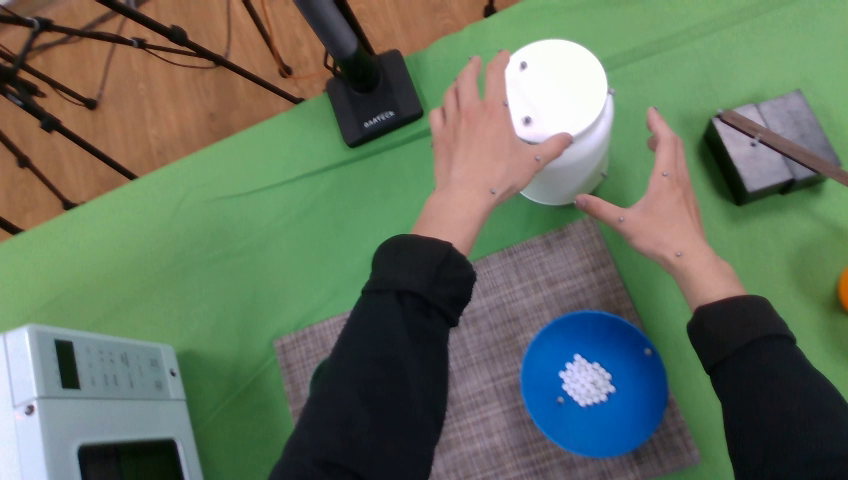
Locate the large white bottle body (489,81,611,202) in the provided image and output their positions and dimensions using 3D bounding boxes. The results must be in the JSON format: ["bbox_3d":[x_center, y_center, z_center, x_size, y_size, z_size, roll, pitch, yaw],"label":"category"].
[{"bbox_3d":[0.145,-0.131,0.697,0.130,0.186,0.130,-3,76,13],"label":"large white bottle body"}]

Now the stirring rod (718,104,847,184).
[{"bbox_3d":[0.404,-0.102,0.662,0.175,0.006,0.014,36,122,19],"label":"stirring rod"}]

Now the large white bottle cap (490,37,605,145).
[{"bbox_3d":[0.125,-0.152,0.616,0.114,0.018,0.114,-3,76,12],"label":"large white bottle cap"}]

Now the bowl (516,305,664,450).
[{"bbox_3d":[0.182,0.151,0.671,0.151,0.077,0.150,-3,76,14],"label":"bowl"}]

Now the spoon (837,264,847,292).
[{"bbox_3d":[0.508,0.040,0.584,0.022,0.193,0.041,23,78,-27],"label":"spoon"}]

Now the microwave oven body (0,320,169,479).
[{"bbox_3d":[-0.449,0.361,0.681,0.326,0.262,0.438,-23,73,7],"label":"microwave oven body"}]

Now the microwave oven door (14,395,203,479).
[{"bbox_3d":[-0.302,0.340,0.644,0.039,0.245,0.353,-24,72,7],"label":"microwave oven door"}]

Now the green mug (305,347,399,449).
[{"bbox_3d":[-0.076,0.185,0.713,0.092,0.105,0.124,-30,72,5],"label":"green mug"}]

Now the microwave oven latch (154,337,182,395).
[{"bbox_3d":[-0.348,0.170,0.806,0.030,0.030,0.078,-23,73,7],"label":"microwave oven latch"}]
